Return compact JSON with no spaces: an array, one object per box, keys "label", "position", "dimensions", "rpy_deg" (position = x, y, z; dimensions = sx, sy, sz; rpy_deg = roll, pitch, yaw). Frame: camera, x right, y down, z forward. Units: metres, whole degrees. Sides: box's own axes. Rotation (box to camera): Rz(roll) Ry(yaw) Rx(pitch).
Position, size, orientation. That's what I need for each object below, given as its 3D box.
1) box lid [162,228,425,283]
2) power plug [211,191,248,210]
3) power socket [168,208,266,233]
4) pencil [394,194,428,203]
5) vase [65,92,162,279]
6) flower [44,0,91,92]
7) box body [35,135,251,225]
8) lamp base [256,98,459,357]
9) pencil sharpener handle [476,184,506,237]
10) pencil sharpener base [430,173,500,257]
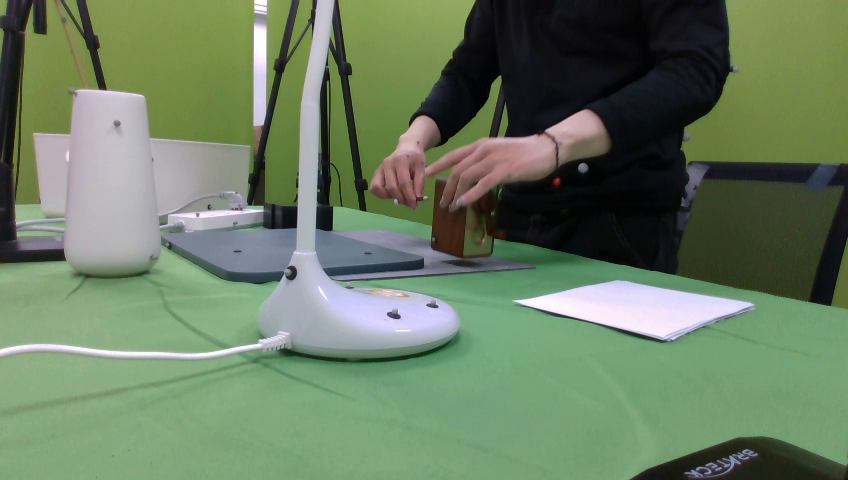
[{"label":"box lid","position":[-0.200,0.014,0.861],"dimensions":[0.265,0.015,0.369],"rpy_deg":[-4,9,-35]},{"label":"power plug","position":[-0.384,-0.071,1.205],"dimensions":[0.072,0.052,0.035],"rpy_deg":[1,8,28]},{"label":"power socket","position":[-0.379,-0.038,1.129],"dimensions":[0.072,0.032,0.227],"rpy_deg":[4,8,18]},{"label":"pencil","position":[-0.023,-0.070,1.017],"dimensions":[0.012,0.012,0.193],"rpy_deg":[0,2,-18]},{"label":"vase","position":[-0.347,-0.060,0.673],"dimensions":[0.098,0.200,0.098],"rpy_deg":[1,7,0]},{"label":"flower","position":[-0.361,-0.142,0.663],"dimensions":[0.044,0.361,0.038],"rpy_deg":[-12,11,30]},{"label":"box body","position":[-0.559,-0.127,1.257],"dimensions":[0.253,0.160,0.365],"rpy_deg":[4,8,15]},{"label":"lamp base","position":[-0.055,-0.013,0.463],"dimensions":[0.160,0.180,0.180],"rpy_deg":[6,11,27]},{"label":"pencil sharpener handle","position":[0.092,-0.038,0.791],"dimensions":[0.036,0.068,0.030],"rpy_deg":[-19,22,-35]},{"label":"pencil sharpener base","position":[0.057,-0.035,0.830],"dimensions":[0.062,0.107,0.076],"rpy_deg":[-3,12,-39]}]
